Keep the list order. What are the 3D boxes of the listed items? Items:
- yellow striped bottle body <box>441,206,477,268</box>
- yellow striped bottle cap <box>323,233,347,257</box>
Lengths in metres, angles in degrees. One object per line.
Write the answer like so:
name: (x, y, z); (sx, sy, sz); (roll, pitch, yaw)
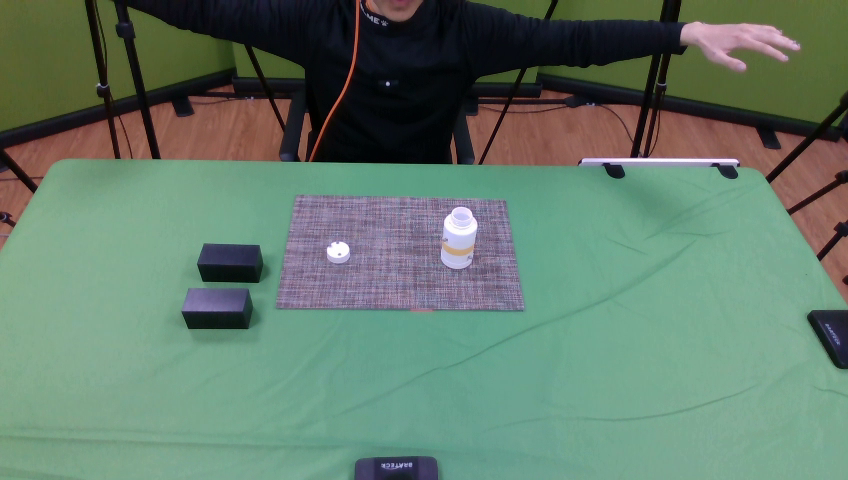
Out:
yellow striped bottle body: (0.066, -0.009, 1.135); (0.063, 0.121, 0.062); (2, 47, -2)
yellow striped bottle cap: (-0.168, 0.010, 1.143); (0.044, 0.019, 0.044); (3, 55, -4)
